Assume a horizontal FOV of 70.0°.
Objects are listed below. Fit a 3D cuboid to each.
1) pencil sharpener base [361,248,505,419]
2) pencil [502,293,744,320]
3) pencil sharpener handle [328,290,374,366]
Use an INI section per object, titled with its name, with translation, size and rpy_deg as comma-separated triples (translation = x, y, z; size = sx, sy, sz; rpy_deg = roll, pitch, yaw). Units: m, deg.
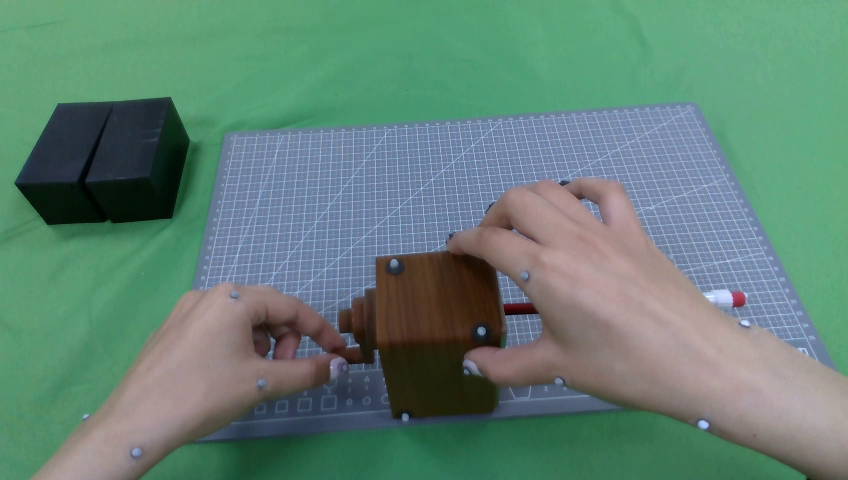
[pencil sharpener base]
translation = 0.005, 0.061, 0.371
size = 0.077, 0.108, 0.060
rpy_deg = -4, 52, -1
[pencil]
translation = 0.091, 0.041, 0.354
size = 0.194, 0.012, 0.012
rpy_deg = -3, 51, -2
[pencil sharpener handle]
translation = -0.046, 0.057, 0.361
size = 0.030, 0.068, 0.035
rpy_deg = -4, 52, 0
